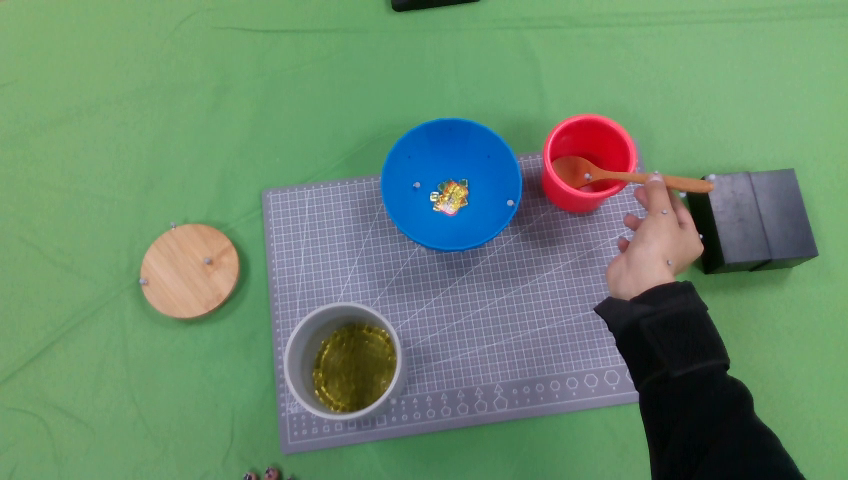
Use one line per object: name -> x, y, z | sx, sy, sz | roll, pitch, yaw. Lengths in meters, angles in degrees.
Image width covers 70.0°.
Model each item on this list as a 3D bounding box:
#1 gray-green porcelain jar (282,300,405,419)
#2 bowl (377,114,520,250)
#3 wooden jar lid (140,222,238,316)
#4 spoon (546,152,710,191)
gray-green porcelain jar -> -0.073, 0.122, 0.597 | 0.106, 0.127, 0.105 | 0, 74, 1
bowl -> 0.027, -0.053, 0.669 | 0.151, 0.077, 0.150 | 0, 74, 1
wooden jar lid -> -0.262, 0.033, 0.682 | 0.108, 0.021, 0.108 | 0, 74, 2
spoon -> 0.204, -0.067, 0.633 | 0.022, 0.192, 0.041 | 24, 86, -36
